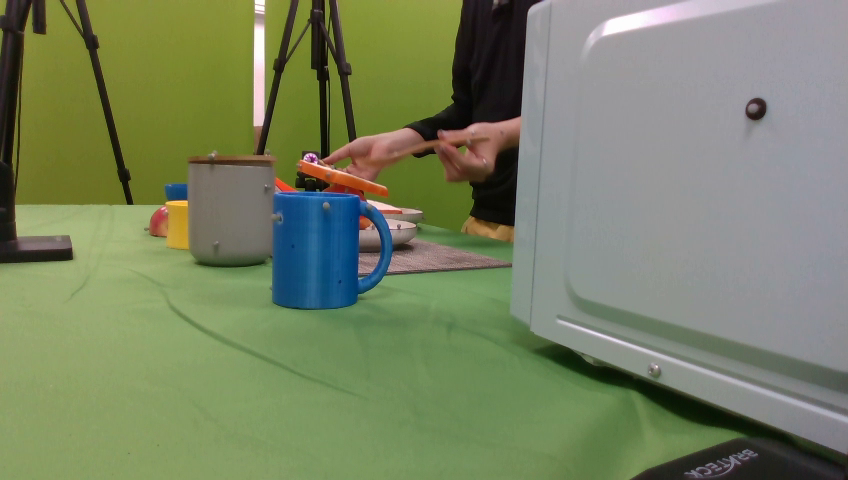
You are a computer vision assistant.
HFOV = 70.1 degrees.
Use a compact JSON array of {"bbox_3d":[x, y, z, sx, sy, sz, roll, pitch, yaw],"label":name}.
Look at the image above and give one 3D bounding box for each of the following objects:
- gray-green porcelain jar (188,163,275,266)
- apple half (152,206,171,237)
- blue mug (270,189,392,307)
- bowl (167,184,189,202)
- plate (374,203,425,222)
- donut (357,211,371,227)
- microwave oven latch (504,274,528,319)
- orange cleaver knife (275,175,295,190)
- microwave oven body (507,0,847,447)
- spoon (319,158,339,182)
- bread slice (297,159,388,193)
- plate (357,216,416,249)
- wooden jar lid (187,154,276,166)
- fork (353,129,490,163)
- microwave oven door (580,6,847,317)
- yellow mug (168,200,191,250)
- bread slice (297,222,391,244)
[{"bbox_3d":[-0.246,-0.034,0.780,0.106,0.126,0.106,2,7,0],"label":"gray-green porcelain jar"},{"bbox_3d":[-0.415,-0.034,1.017,0.081,0.053,0.074,1,10,-9],"label":"apple half"},{"bbox_3d":[-0.090,0.005,0.588,0.117,0.106,0.082,0,7,-11],"label":"blue mug"},{"bbox_3d":[-0.408,-0.064,1.154,0.151,0.077,0.151,2,8,0],"label":"bowl"},{"bbox_3d":[-0.102,-0.053,1.299,0.209,0.038,0.209,2,8,0],"label":"plate"},{"bbox_3d":[-0.129,-0.041,0.956,0.099,0.048,0.099,2,7,0],"label":"donut"},{"bbox_3d":[0.100,0.041,0.470,0.079,0.029,0.030,-1,7,-27],"label":"microwave oven latch"},{"bbox_3d":[-0.283,-0.087,1.343,0.212,0.077,0.012,24,-16,-41],"label":"orange cleaver knife"},{"bbox_3d":[0.331,-0.042,0.425,0.444,0.260,0.324,-2,8,-31],"label":"microwave oven body"},{"bbox_3d":[-0.186,-0.140,1.174,0.042,0.021,0.193,10,17,-19],"label":"spoon"},{"bbox_3d":[-0.132,-0.102,0.952,0.132,0.019,0.104,12,6,-36],"label":"bread slice"},{"bbox_3d":[-0.116,-0.014,0.967,0.208,0.039,0.207,2,7,0],"label":"plate"},{"bbox_3d":[-0.244,-0.097,0.771,0.108,0.020,0.108,-1,7,0],"label":"wooden jar lid"},{"bbox_3d":[-0.006,-0.139,0.888,0.207,0.018,0.028,-12,-25,13],"label":"fork"},{"bbox_3d":[0.294,-0.067,0.570,0.358,0.243,0.039,-3,9,-31],"label":"microwave oven door"},{"bbox_3d":[-0.319,-0.023,0.904,0.130,0.064,0.100,8,10,36],"label":"yellow mug"},{"bbox_3d":[-0.121,-0.013,0.971,0.106,0.018,0.135,11,13,41],"label":"bread slice"}]
